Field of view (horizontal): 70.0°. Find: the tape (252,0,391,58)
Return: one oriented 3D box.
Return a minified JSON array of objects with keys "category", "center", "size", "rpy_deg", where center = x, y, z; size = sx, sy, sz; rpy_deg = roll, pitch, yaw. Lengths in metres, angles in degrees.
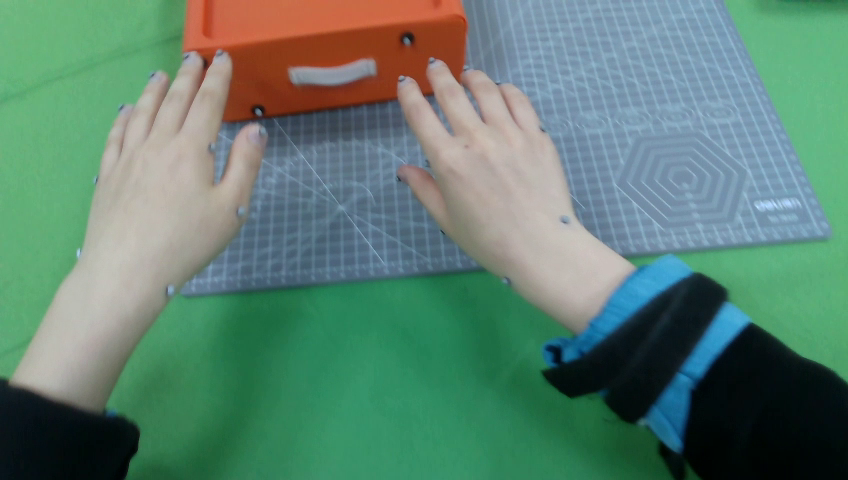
[{"category":"tape","center":[-0.086,-0.212,0.506],"size":[0.117,0.053,0.116],"rpy_deg":[0,62,1]}]

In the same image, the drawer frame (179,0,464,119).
[{"category":"drawer frame","center":[-0.086,-0.213,0.498],"size":[0.202,0.083,0.211],"rpy_deg":[-10,60,-3]}]

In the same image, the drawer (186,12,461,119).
[{"category":"drawer","center":[-0.084,-0.210,0.497],"size":[0.194,0.074,0.209],"rpy_deg":[-10,60,-3]}]
